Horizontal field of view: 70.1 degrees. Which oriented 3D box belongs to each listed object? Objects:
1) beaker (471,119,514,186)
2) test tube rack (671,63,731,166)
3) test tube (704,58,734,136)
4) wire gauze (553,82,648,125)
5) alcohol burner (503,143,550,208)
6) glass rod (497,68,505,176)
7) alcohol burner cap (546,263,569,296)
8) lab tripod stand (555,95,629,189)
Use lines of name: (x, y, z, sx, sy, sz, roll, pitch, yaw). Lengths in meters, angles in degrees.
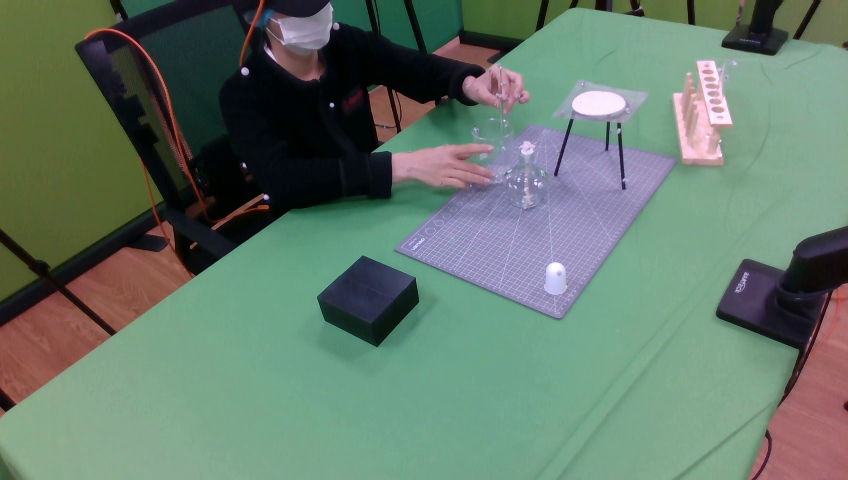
beaker: (0.125, -0.155, 1.077, 0.084, 0.101, 0.073, -35, 47, -29)
test tube rack: (0.513, -0.241, 1.132, 0.066, 0.085, 0.242, 4, 41, 14)
test tube: (0.517, -0.247, 1.062, 0.017, 0.151, 0.017, -3, 43, 4)
wire gauze: (0.293, -0.225, 1.002, 0.120, 0.011, 0.125, 17, 45, 27)
alcohol burner: (0.171, -0.112, 1.006, 0.078, 0.119, 0.077, -3, 41, 4)
glass rod: (0.134, -0.200, 1.047, 0.008, 0.200, 0.008, -5, 35, 4)
alcohol burner cap: (0.191, 0.053, 0.862, 0.034, 0.048, 0.033, -5, 40, 4)
lab tripod stand: (0.300, -0.174, 1.045, 0.148, 0.132, 0.147, -5, 38, 5)
